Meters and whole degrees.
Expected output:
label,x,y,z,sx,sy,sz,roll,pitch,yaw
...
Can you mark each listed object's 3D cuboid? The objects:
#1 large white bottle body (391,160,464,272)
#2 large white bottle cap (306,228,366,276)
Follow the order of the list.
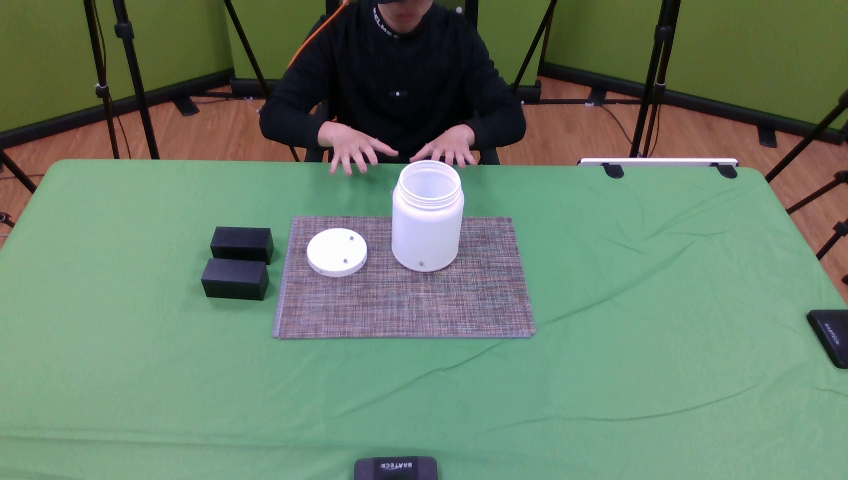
label,x,y,z,sx,sy,sz,roll,pitch,yaw
large white bottle body,0.005,-0.045,1.124,0.131,0.185,0.130,2,47,-2
large white bottle cap,-0.168,0.022,1.162,0.115,0.018,0.114,2,46,-2
